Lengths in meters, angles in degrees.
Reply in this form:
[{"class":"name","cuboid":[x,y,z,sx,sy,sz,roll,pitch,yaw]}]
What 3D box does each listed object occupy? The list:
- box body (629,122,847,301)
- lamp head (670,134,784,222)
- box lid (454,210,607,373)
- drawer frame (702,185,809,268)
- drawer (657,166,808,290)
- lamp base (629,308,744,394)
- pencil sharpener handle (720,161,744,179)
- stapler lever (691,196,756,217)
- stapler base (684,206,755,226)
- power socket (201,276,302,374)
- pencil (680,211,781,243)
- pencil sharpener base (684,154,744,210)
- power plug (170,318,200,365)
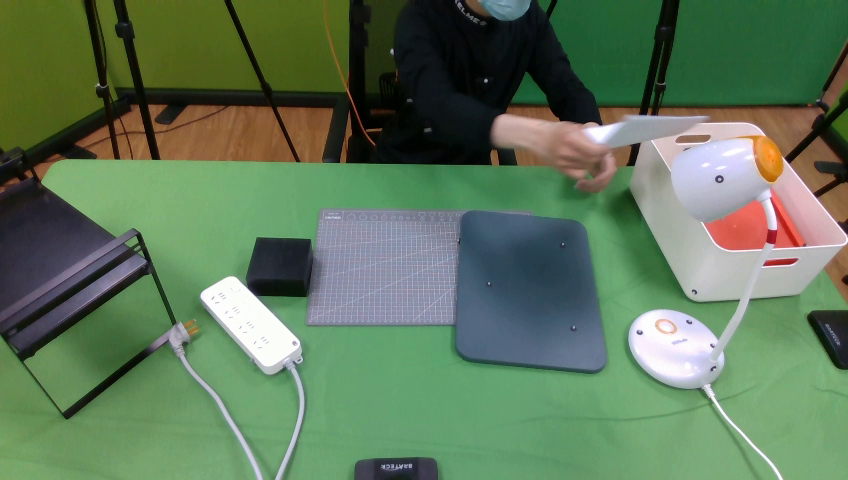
[{"class":"box body","cuboid":[0.593,-0.062,1.202,0.254,0.161,0.361,-3,47,-7]},{"class":"lamp head","cuboid":[0.422,-0.089,0.829,0.113,0.123,0.112,8,74,-32]},{"class":"box lid","cuboid":[0.194,0.080,1.142,0.263,0.015,0.369,6,47,0]},{"class":"drawer frame","cuboid":[0.584,-0.023,1.160,0.202,0.083,0.212,-12,56,3]},{"class":"drawer","cuboid":[0.582,-0.024,1.163,0.194,0.073,0.210,-12,56,3]},{"class":"lamp base","cuboid":[0.446,0.139,0.987,0.161,0.181,0.178,-18,53,-20]},{"class":"pencil sharpener handle","cuboid":[0.667,-0.147,1.299,0.031,0.068,0.036,-8,80,-12]},{"class":"stapler lever","cuboid":[0.586,-0.065,1.184,0.118,0.040,0.026,2,59,12]},{"class":"stapler base","cuboid":[0.588,-0.052,1.204,0.130,0.024,0.041,2,59,11]},{"class":"power socket","cuboid":[-0.297,0.141,1.034,0.072,0.033,0.225,-34,58,-30]},{"class":"pencil","cuboid":[0.598,-0.027,1.185,0.194,0.012,0.012,18,48,10]},{"class":"pencil sharpener base","cuboid":[0.619,-0.124,1.293,0.077,0.107,0.061,-8,47,-12]},{"class":"power plug","cuboid":[-0.392,0.167,1.013,0.052,0.035,0.072,-31,89,-23]}]
